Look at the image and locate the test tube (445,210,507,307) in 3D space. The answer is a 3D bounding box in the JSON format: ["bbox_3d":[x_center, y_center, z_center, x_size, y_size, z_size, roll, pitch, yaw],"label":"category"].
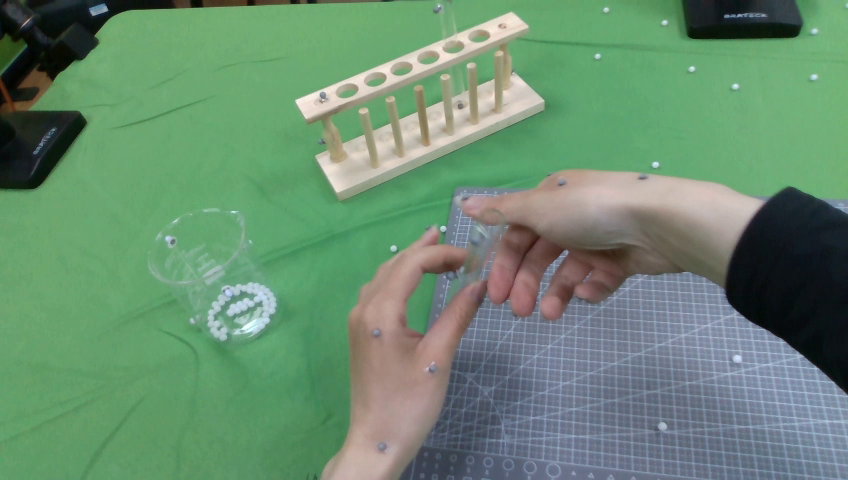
[{"bbox_3d":[0.030,0.018,0.392,0.017,0.151,0.017,2,68,-5],"label":"test tube"}]

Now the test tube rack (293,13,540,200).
[{"bbox_3d":[-0.001,-0.138,0.620,0.242,0.086,0.066,-26,52,-11],"label":"test tube rack"}]

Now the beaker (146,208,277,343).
[{"bbox_3d":[-0.168,0.032,0.502,0.073,0.101,0.084,27,60,26],"label":"beaker"}]

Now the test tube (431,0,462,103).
[{"bbox_3d":[0.021,-0.200,0.601,0.017,0.152,0.017,-6,48,7],"label":"test tube"}]
